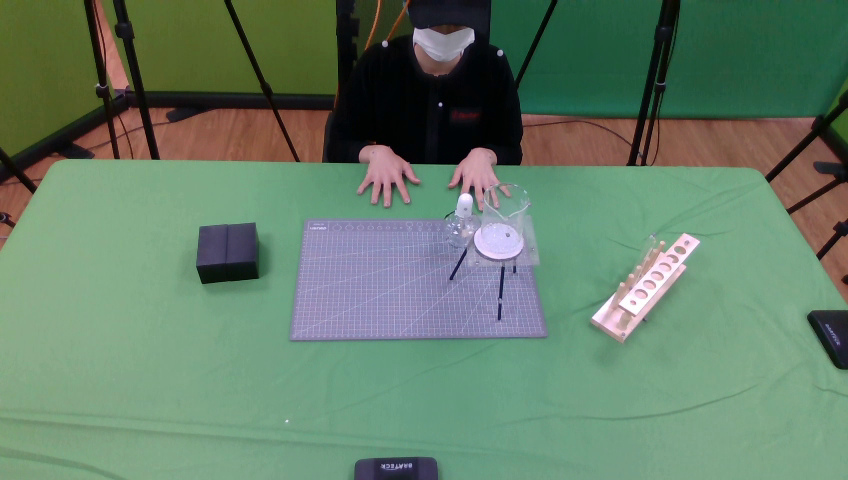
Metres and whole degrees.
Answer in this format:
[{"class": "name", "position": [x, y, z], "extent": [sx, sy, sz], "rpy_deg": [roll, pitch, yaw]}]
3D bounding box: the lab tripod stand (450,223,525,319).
[{"class": "lab tripod stand", "position": [0.120, 0.046, 1.080], "extent": [0.148, 0.132, 0.147], "rpy_deg": [1, 47, -1]}]

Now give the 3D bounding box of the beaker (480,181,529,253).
[{"class": "beaker", "position": [0.130, -0.033, 0.998], "extent": [0.074, 0.101, 0.083], "rpy_deg": [5, 47, 4]}]

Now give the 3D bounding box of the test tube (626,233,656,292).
[{"class": "test tube", "position": [0.384, 0.042, 1.079], "extent": [0.017, 0.151, 0.017], "rpy_deg": [1, 47, -1]}]

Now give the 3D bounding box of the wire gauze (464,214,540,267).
[{"class": "wire gauze", "position": [0.131, -0.001, 1.035], "extent": [0.121, 0.011, 0.124], "rpy_deg": [1, 44, -2]}]

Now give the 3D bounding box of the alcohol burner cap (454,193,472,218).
[{"class": "alcohol burner cap", "position": [0.076, -0.068, 1.151], "extent": [0.034, 0.048, 0.033], "rpy_deg": [4, 46, -3]}]

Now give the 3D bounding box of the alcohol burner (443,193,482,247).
[{"class": "alcohol burner", "position": [0.075, -0.044, 1.177], "extent": [0.078, 0.120, 0.077], "rpy_deg": [1, 44, -1]}]

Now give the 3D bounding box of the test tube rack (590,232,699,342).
[{"class": "test tube rack", "position": [0.407, 0.074, 1.112], "extent": [0.066, 0.085, 0.242], "rpy_deg": [35, 53, 26]}]
